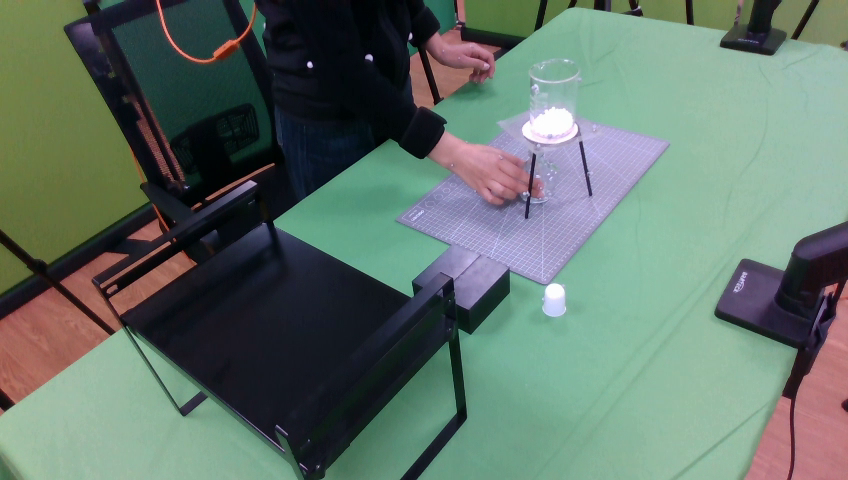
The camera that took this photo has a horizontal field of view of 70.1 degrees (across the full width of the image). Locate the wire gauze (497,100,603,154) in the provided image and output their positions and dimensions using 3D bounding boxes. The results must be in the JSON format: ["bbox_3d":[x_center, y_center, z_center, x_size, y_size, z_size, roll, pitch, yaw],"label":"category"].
[{"bbox_3d":[0.199,-0.179,0.962,0.125,0.011,0.120,-21,42,-12],"label":"wire gauze"}]

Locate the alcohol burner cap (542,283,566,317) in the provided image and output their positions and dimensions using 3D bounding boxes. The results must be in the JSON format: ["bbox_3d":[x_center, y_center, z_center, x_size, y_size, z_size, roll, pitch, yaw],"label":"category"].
[{"bbox_3d":[0.181,0.081,0.839,0.034,0.048,0.033,-3,40,3],"label":"alcohol burner cap"}]

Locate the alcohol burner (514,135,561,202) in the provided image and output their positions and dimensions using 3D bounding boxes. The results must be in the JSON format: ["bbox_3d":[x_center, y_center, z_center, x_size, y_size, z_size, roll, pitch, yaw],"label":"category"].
[{"bbox_3d":[0.190,-0.123,1.013,0.078,0.119,0.077,-5,42,5],"label":"alcohol burner"}]

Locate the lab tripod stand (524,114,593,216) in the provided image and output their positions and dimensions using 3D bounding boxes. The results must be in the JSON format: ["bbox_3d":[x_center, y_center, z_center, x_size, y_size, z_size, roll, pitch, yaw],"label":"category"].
[{"bbox_3d":[0.210,-0.127,1.001,0.148,0.132,0.147,-4,43,4],"label":"lab tripod stand"}]

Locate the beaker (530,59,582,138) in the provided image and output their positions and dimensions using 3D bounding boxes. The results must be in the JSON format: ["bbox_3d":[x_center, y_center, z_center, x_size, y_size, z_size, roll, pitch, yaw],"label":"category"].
[{"bbox_3d":[0.198,-0.217,0.932,0.074,0.101,0.083,-22,43,-16],"label":"beaker"}]
